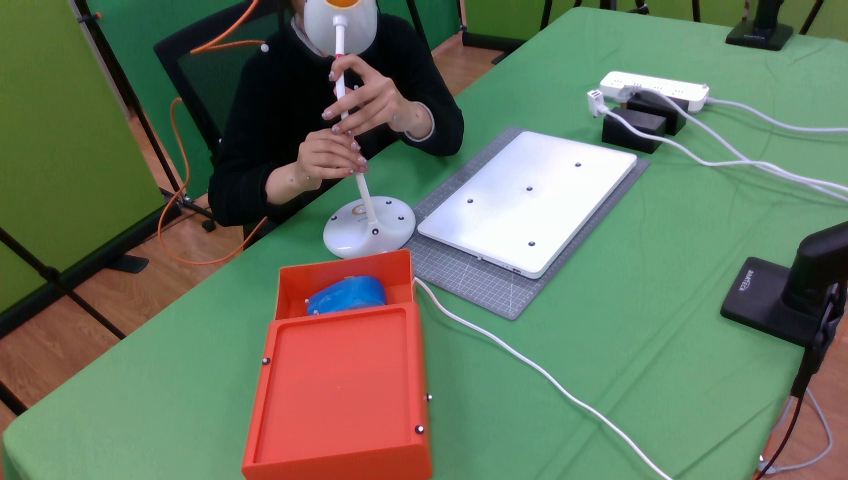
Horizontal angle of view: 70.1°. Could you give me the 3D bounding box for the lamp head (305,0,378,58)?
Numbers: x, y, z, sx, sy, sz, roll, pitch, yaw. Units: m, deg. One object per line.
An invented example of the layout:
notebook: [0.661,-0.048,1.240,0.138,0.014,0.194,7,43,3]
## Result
lamp head: [-0.119,-0.335,0.874,0.113,0.112,0.122,-17,0,-9]

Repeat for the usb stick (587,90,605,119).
usb stick: [0.334,-0.258,1.171,0.021,0.059,0.027,-29,44,-4]

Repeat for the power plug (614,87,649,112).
power plug: [0.406,-0.275,1.192,0.035,0.053,0.072,-15,24,-16]

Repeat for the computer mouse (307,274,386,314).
computer mouse: [-0.114,0.088,0.882,0.117,0.041,0.062,-17,43,-1]

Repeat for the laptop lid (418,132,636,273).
laptop lid: [0.181,-0.084,1.036,0.239,0.013,0.358,22,49,35]

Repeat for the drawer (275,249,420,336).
drawer: [-0.104,0.116,0.826,0.194,0.073,0.210,-8,40,0]

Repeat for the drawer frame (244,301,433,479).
drawer frame: [-0.096,0.185,0.739,0.202,0.083,0.212,-8,40,1]

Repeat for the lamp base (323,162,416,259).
lamp base: [-0.099,-0.073,0.967,0.161,0.181,0.177,-24,44,-15]

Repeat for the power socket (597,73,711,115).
power socket: [0.469,-0.304,1.249,0.225,0.033,0.072,20,49,30]

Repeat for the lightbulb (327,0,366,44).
lightbulb: [-0.116,-0.333,0.899,0.060,0.059,0.107,-16,-4,-8]

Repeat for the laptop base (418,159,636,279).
laptop base: [0.185,-0.074,1.042,0.233,0.023,0.355,20,48,35]
